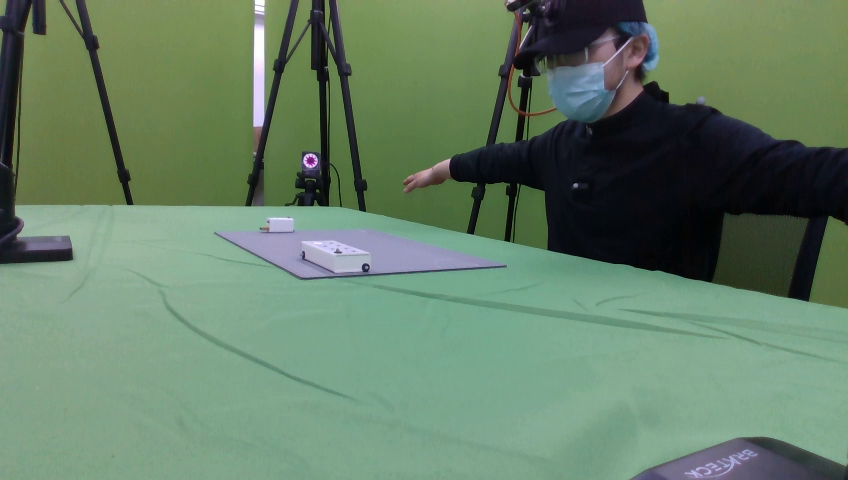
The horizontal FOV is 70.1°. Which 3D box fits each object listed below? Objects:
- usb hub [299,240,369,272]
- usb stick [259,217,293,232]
[{"bbox_3d":[-0.119,0.019,0.782,0.050,0.025,0.124,-2,8,-31],"label":"usb hub"},{"bbox_3d":[-0.268,-0.028,1.094,0.059,0.027,0.021,-5,12,-32],"label":"usb stick"}]
